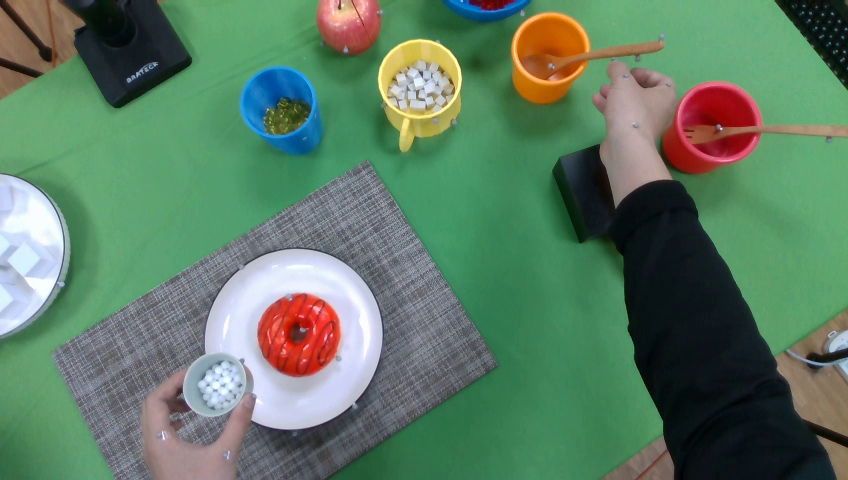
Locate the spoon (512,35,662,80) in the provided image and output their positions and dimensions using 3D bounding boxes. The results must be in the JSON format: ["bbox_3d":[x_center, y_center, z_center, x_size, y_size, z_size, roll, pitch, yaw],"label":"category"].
[{"bbox_3d":[0.181,-0.214,0.700,0.022,0.192,0.041,23,79,-39],"label":"spoon"}]

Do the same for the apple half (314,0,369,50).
[{"bbox_3d":[-0.108,-0.273,0.756,0.053,0.075,0.080,-27,84,0],"label":"apple half"}]

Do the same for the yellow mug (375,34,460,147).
[{"bbox_3d":[-0.011,-0.176,0.740,0.100,0.064,0.130,15,82,4],"label":"yellow mug"}]

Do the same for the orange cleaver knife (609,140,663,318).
[{"bbox_3d":[0.243,-0.011,0.698,0.012,0.076,0.212,-18,110,1],"label":"orange cleaver knife"}]

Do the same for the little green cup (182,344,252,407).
[{"bbox_3d":[-0.201,0.137,0.599,0.061,0.039,0.061,-1,69,4],"label":"little green cup"}]

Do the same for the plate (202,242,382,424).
[{"bbox_3d":[-0.150,0.107,0.709,0.209,0.038,0.208,0,81,2],"label":"plate"}]

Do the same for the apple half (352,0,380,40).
[{"bbox_3d":[-0.073,-0.292,0.756,0.033,0.081,0.081,-26,80,0],"label":"apple half"}]

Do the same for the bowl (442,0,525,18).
[{"bbox_3d":[0.075,-0.338,0.758,0.151,0.077,0.151,0,82,2],"label":"bowl"}]

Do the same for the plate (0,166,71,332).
[{"bbox_3d":[-0.529,0.013,0.739,0.207,0.039,0.207,0,81,2],"label":"plate"}]

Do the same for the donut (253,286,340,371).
[{"bbox_3d":[-0.147,0.102,0.699,0.099,0.048,0.098,0,82,2],"label":"donut"}]

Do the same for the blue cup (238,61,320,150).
[{"bbox_3d":[-0.164,-0.151,0.724,0.092,0.100,0.092,0,82,0],"label":"blue cup"}]

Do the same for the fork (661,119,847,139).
[{"bbox_3d":[0.370,-0.127,0.681,0.205,0.019,0.028,9,63,46],"label":"fork"}]
